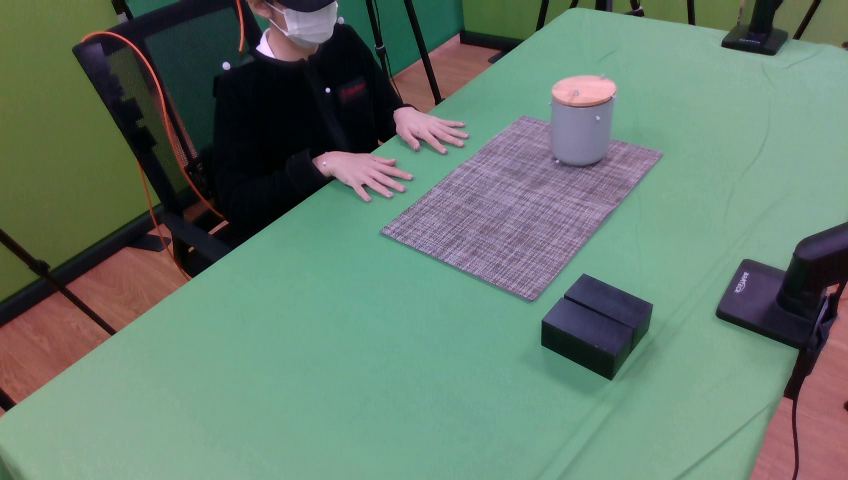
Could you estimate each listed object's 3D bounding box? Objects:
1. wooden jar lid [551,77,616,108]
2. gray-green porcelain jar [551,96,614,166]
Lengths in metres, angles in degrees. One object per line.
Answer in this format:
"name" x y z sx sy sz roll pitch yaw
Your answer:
"wooden jar lid" 0.275 -0.252 1.047 0.108 0.021 0.108 -5 38 4
"gray-green porcelain jar" 0.282 -0.206 1.087 0.106 0.127 0.105 -5 40 4
